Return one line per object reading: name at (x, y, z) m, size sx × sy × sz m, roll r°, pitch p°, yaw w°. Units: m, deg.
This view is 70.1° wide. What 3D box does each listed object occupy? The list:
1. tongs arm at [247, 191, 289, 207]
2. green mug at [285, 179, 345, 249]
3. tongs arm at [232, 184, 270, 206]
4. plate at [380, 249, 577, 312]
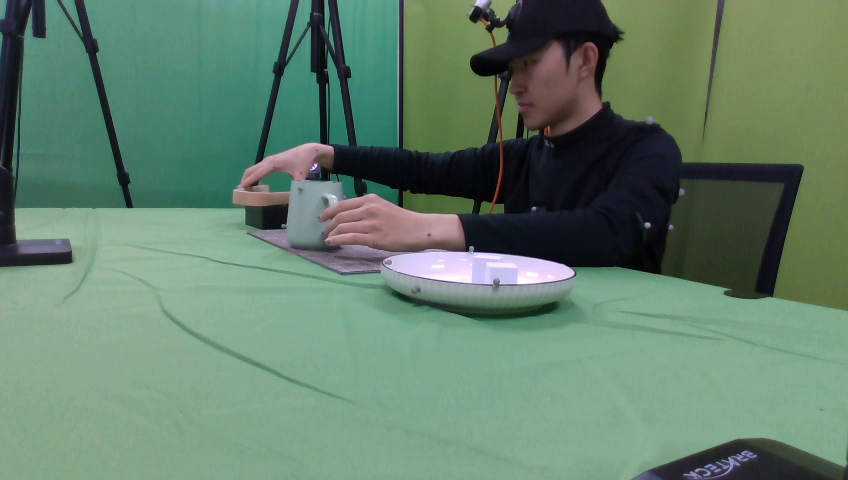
tongs arm at (-0.280, -0.095, 1.294) m, size 0.028 × 0.028 × 0.388 m, roll 10°, pitch 8°, yaw 8°
green mug at (-0.161, -0.040, 0.936) m, size 0.093 × 0.105 × 0.124 m, roll -2°, pitch 8°, yaw -32°
tongs arm at (-0.353, -0.100, 1.295) m, size 0.051 × 0.026 × 0.384 m, roll 6°, pitch 7°, yaw -2°
plate at (0.056, 0.042, 0.646) m, size 0.209 × 0.038 × 0.209 m, roll 2°, pitch 7°, yaw 0°
